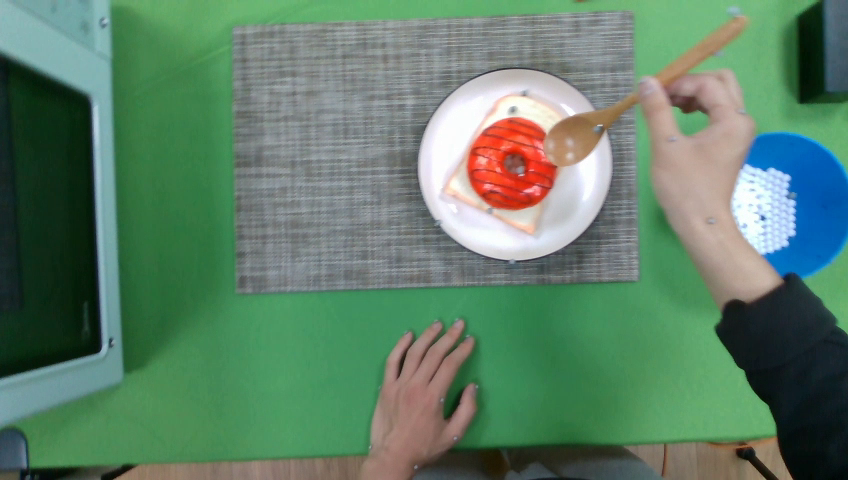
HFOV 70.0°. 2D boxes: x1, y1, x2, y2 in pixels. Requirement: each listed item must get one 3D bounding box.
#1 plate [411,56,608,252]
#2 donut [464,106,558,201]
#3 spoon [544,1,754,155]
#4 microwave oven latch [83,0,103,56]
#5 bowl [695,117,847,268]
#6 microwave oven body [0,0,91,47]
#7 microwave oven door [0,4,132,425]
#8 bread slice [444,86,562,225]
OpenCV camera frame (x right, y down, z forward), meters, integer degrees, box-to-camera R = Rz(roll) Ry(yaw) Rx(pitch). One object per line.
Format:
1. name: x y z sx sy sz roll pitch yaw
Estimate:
1. plate: 0.091 -0.091 0.658 0.207 0.039 0.207 0 90 2
2. donut: 0.090 -0.089 0.630 0.099 0.048 0.099 0 89 3
3. spoon: 0.171 -0.124 0.487 0.021 0.193 0.041 -34 91 -40
4. microwave oven latch: -0.371 -0.242 0.660 0.030 0.029 0.079 -4 90 1
5. bowl: 0.349 -0.045 0.632 0.151 0.077 0.151 0 89 2
6. microwave oven body: -0.509 -0.056 0.567 0.326 0.260 0.441 -4 90 1
7. microwave oven door: -0.360 -0.026 0.557 0.039 0.244 0.355 -5 89 3
8. bread slice: 0.094 -0.098 0.660 0.107 0.018 0.134 22 92 2
